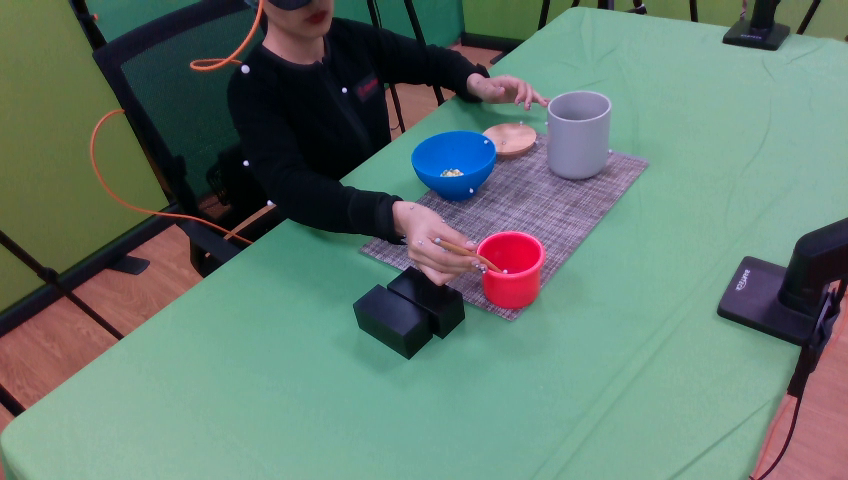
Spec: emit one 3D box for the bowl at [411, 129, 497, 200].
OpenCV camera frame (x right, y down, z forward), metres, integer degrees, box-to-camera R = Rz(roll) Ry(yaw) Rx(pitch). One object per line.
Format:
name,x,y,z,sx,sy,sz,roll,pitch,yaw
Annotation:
bowl,0.056,-0.124,1.070,0.151,0.077,0.150,-6,40,5

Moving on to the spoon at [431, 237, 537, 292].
spoon,0.083,0.033,0.816,0.021,0.195,0.041,-60,33,0

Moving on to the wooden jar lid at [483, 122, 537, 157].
wooden jar lid,0.165,-0.195,1.177,0.108,0.021,0.108,-4,40,4

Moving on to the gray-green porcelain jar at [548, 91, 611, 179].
gray-green porcelain jar,0.269,-0.179,1.056,0.106,0.127,0.105,-6,40,5
